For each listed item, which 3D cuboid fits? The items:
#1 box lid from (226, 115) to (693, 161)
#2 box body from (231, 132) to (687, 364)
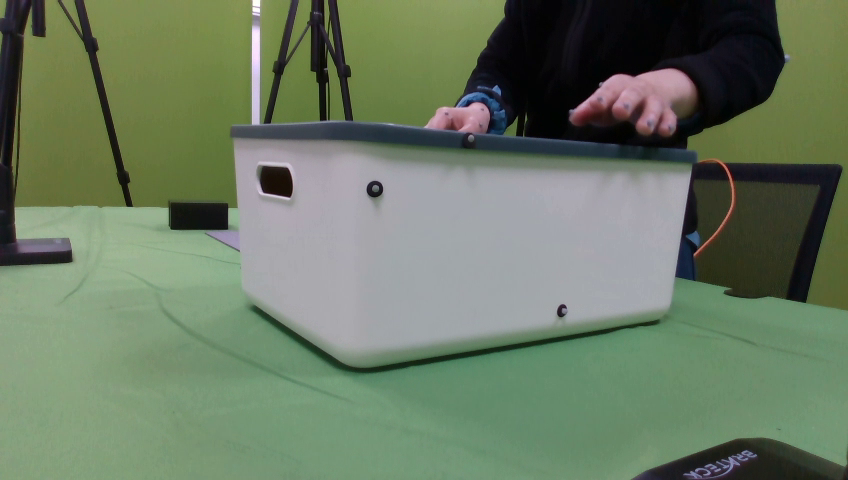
[{"bbox_3d":[0.031,-0.086,0.554,0.373,0.015,0.262,-2,8,-33],"label":"box lid"},{"bbox_3d":[0.031,-0.013,0.563,0.366,0.160,0.253,-3,8,-33],"label":"box body"}]
